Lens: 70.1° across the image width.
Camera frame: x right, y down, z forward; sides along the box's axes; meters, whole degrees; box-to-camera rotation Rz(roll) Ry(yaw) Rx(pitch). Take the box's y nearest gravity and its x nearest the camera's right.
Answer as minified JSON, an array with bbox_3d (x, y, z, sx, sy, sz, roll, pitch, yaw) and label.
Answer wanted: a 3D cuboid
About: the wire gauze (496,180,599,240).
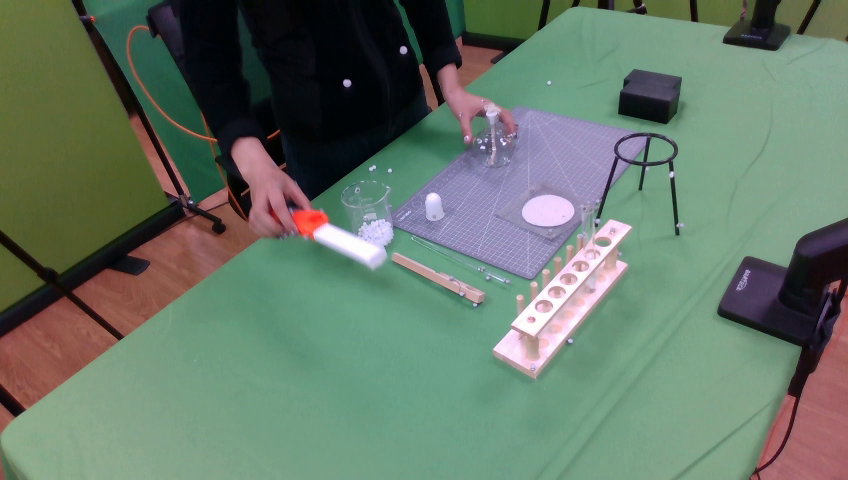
[{"bbox_3d":[0.206,-0.050,1.012,0.125,0.011,0.120,-34,45,-26],"label":"wire gauze"}]

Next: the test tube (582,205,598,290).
[{"bbox_3d":[0.220,0.014,0.798,0.017,0.151,0.017,-9,43,9],"label":"test tube"}]

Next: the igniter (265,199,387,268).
[{"bbox_3d":[-0.151,-0.015,0.865,0.057,0.025,0.274,-37,39,-29],"label":"igniter"}]

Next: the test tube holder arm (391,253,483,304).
[{"bbox_3d":[0.016,0.055,0.917,0.177,0.015,0.013,24,17,34],"label":"test tube holder arm"}]

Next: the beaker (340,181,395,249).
[{"bbox_3d":[-0.087,-0.037,0.985,0.084,0.101,0.073,-18,41,-11],"label":"beaker"}]

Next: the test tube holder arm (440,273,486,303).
[{"bbox_3d":[0.053,0.070,0.896,0.087,0.015,0.010,24,17,34],"label":"test tube holder arm"}]

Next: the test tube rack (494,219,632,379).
[{"bbox_3d":[0.191,0.068,0.818,0.066,0.085,0.243,25,51,35],"label":"test tube rack"}]

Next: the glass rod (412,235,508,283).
[{"bbox_3d":[0.051,0.028,0.951,0.198,0.008,0.008,25,52,37],"label":"glass rod"}]

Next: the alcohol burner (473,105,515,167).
[{"bbox_3d":[0.128,-0.196,1.116,0.078,0.119,0.077,-4,39,4],"label":"alcohol burner"}]

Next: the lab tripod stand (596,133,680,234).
[{"bbox_3d":[0.338,-0.090,0.940,0.148,0.132,0.147,-7,39,6],"label":"lab tripod stand"}]

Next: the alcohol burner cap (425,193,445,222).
[{"bbox_3d":[0.017,-0.058,1.029,0.034,0.048,0.033,-5,40,5],"label":"alcohol burner cap"}]
